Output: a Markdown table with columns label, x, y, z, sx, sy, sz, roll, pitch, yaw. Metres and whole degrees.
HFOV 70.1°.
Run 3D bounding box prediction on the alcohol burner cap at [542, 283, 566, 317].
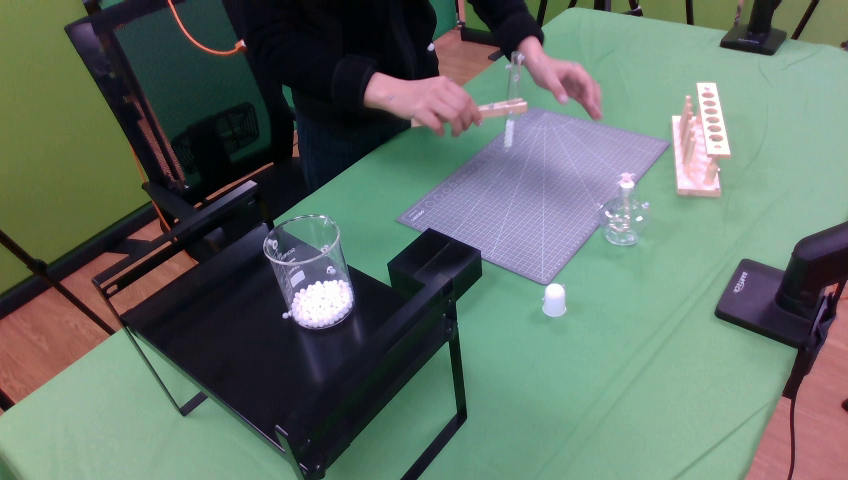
| label | x | y | z | sx | sy | sz | roll | pitch | yaw |
| --- | --- | --- | --- | --- | --- | --- | --- | --- | --- |
| alcohol burner cap | 0.181 | 0.081 | 0.839 | 0.034 | 0.048 | 0.033 | -3 | 40 | 3 |

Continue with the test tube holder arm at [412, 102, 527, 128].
| label | x | y | z | sx | sy | sz | roll | pitch | yaw |
| --- | --- | --- | --- | --- | --- | --- | --- | --- | --- |
| test tube holder arm | 0.069 | -0.188 | 0.906 | 0.179 | 0.015 | 0.013 | -11 | 29 | -13 |

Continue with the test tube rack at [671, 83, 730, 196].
| label | x | y | z | sx | sy | sz | roll | pitch | yaw |
| --- | --- | --- | --- | --- | --- | --- | --- | --- | --- |
| test tube rack | 0.482 | -0.184 | 1.067 | 0.066 | 0.085 | 0.242 | 5 | 42 | 15 |

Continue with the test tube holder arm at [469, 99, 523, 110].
| label | x | y | z | sx | sy | sz | roll | pitch | yaw |
| --- | --- | --- | --- | --- | --- | --- | --- | --- | --- |
| test tube holder arm | 0.110 | -0.200 | 0.922 | 0.088 | 0.015 | 0.010 | -14 | 30 | -18 |

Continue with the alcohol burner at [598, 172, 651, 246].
| label | x | y | z | sx | sy | sz | roll | pitch | yaw |
| --- | --- | --- | --- | --- | --- | --- | --- | --- | --- |
| alcohol burner | 0.306 | -0.051 | 0.918 | 0.078 | 0.119 | 0.077 | -6 | 41 | 5 |

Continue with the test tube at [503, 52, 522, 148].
| label | x | y | z | sx | sy | sz | roll | pitch | yaw |
| --- | --- | --- | --- | --- | --- | --- | --- | --- | --- |
| test tube | 0.134 | -0.210 | 0.919 | 0.017 | 0.150 | 0.017 | 0 | 35 | 0 |

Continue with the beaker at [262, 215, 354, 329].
| label | x | y | z | sx | sy | sz | roll | pitch | yaw |
| --- | --- | --- | --- | --- | --- | --- | --- | --- | --- |
| beaker | -0.112 | 0.034 | 0.616 | 0.073 | 0.101 | 0.084 | 13 | 44 | 22 |
